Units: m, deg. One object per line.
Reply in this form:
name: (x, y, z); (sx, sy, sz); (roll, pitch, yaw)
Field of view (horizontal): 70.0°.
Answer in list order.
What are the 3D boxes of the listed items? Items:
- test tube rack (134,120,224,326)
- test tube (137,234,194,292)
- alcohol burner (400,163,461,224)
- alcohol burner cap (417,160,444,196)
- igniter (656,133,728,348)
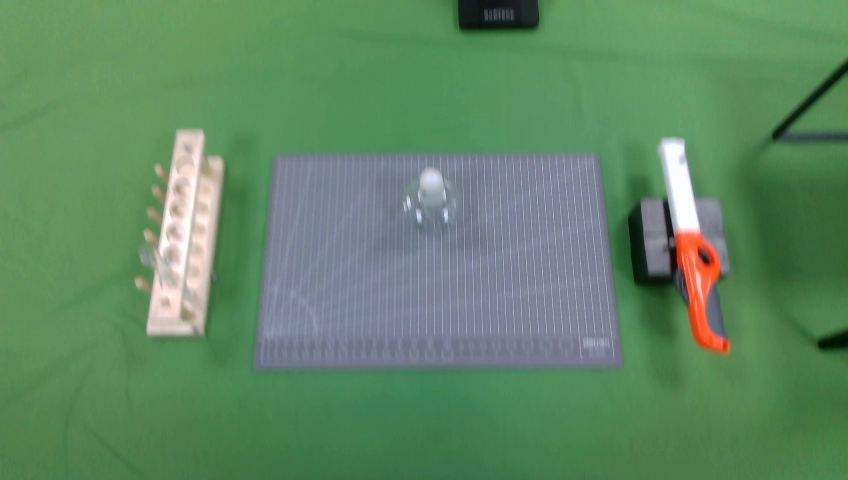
test tube rack: (-0.306, -0.020, 0.748); (0.067, 0.085, 0.240); (0, 71, 0)
test tube: (-0.286, 0.029, 0.679); (0.017, 0.151, 0.017); (1, 67, -3)
alcohol burner: (0.008, -0.065, 0.749); (0.078, 0.120, 0.077); (0, 72, 1)
alcohol burner cap: (0.006, -0.076, 0.715); (0.034, 0.048, 0.033); (-1, 71, 2)
igniter: (0.320, -0.006, 0.731); (0.057, 0.025, 0.274); (-1, 69, -4)
